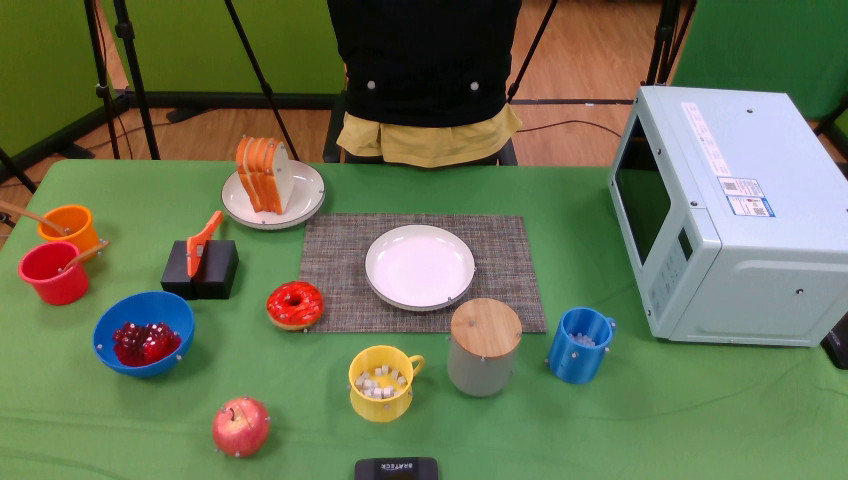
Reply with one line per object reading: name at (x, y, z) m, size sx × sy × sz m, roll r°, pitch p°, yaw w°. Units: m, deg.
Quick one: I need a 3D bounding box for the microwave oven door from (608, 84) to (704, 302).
microwave oven door at (0.424, -0.096, 1.138) m, size 0.039 × 0.245 × 0.353 m, roll 3°, pitch 46°, yaw -1°

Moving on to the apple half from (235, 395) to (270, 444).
apple half at (-0.245, 0.259, 0.893) m, size 0.033 × 0.082 × 0.081 m, roll -29°, pitch 55°, yaw -22°

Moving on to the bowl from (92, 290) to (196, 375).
bowl at (-0.436, 0.161, 0.971) m, size 0.151 × 0.077 × 0.150 m, roll 2°, pitch 46°, yaw -2°

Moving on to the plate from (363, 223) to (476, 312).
plate at (-0.009, 0.054, 1.126) m, size 0.208 × 0.039 × 0.206 m, roll 2°, pitch 46°, yaw -2°

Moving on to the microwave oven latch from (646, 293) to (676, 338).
microwave oven latch at (0.412, 0.133, 1.060) m, size 0.030 × 0.029 × 0.078 m, roll 3°, pitch 46°, yaw 0°

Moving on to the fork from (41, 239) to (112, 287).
fork at (-0.591, 0.040, 1.028) m, size 0.207 × 0.019 × 0.028 m, roll -27°, pitch 37°, yaw 29°

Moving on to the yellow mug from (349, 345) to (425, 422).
yellow mug at (-0.054, 0.217, 0.954) m, size 0.131 × 0.064 × 0.099 m, roll -23°, pitch 52°, yaw -25°

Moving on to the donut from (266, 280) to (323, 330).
donut at (-0.223, 0.113, 1.051) m, size 0.099 × 0.048 × 0.098 m, roll 2°, pitch 46°, yaw -1°

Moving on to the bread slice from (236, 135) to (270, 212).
bread slice at (-0.341, -0.142, 1.219) m, size 0.018 × 0.135 × 0.106 m, roll -3°, pitch 45°, yaw 7°

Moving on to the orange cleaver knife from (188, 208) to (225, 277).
orange cleaver knife at (-0.401, 0.000, 1.123) m, size 0.012 × 0.077 × 0.210 m, roll 3°, pitch 22°, yaw -3°

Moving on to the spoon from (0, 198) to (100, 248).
spoon at (-0.684, -0.035, 1.092) m, size 0.021 × 0.195 × 0.041 m, roll -32°, pitch 42°, yaw 28°

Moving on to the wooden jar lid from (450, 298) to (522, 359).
wooden jar lid at (0.093, 0.135, 0.914) m, size 0.108 × 0.021 × 0.107 m, roll 3°, pitch 48°, yaw -3°

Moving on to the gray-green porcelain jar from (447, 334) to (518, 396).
gray-green porcelain jar at (0.091, 0.178, 0.960) m, size 0.106 × 0.127 × 0.105 m, roll 2°, pitch 46°, yaw -2°

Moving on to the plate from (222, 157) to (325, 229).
plate at (-0.307, -0.094, 1.251) m, size 0.209 × 0.038 × 0.208 m, roll 2°, pitch 46°, yaw -2°

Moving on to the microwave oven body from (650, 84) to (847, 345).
microwave oven body at (0.568, -0.054, 1.116) m, size 0.326 × 0.261 × 0.439 m, roll 2°, pitch 46°, yaw -1°

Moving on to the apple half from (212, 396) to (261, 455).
apple half at (-0.276, 0.276, 0.877) m, size 0.053 × 0.075 × 0.080 m, roll -29°, pitch 58°, yaw -21°

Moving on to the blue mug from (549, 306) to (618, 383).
blue mug at (0.269, 0.167, 0.997) m, size 0.116 × 0.106 × 0.082 m, roll -19°, pitch 50°, yaw -21°

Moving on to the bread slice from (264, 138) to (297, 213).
bread slice at (-0.286, -0.135, 1.214) m, size 0.019 × 0.132 × 0.104 m, roll 1°, pitch 46°, yaw 8°
